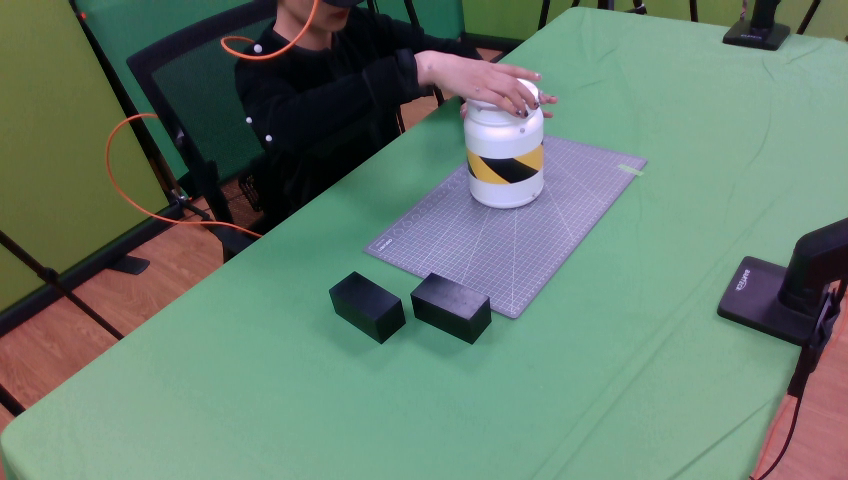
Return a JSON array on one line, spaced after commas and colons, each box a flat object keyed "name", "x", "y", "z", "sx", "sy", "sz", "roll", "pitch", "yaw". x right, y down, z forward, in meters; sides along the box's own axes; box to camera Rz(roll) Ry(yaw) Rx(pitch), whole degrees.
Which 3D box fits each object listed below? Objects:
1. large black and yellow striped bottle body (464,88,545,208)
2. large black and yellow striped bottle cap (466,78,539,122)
[{"name": "large black and yellow striped bottle body", "x": 0.136, "y": -0.160, "z": 1.016, "sx": 0.131, "sy": 0.185, "sz": 0.130, "roll": -5, "pitch": 40, "yaw": 5}, {"name": "large black and yellow striped bottle cap", "x": 0.124, "y": -0.225, "z": 0.963, "sx": 0.115, "sy": 0.019, "sz": 0.114, "roll": -4, "pitch": 41, "yaw": 4}]
